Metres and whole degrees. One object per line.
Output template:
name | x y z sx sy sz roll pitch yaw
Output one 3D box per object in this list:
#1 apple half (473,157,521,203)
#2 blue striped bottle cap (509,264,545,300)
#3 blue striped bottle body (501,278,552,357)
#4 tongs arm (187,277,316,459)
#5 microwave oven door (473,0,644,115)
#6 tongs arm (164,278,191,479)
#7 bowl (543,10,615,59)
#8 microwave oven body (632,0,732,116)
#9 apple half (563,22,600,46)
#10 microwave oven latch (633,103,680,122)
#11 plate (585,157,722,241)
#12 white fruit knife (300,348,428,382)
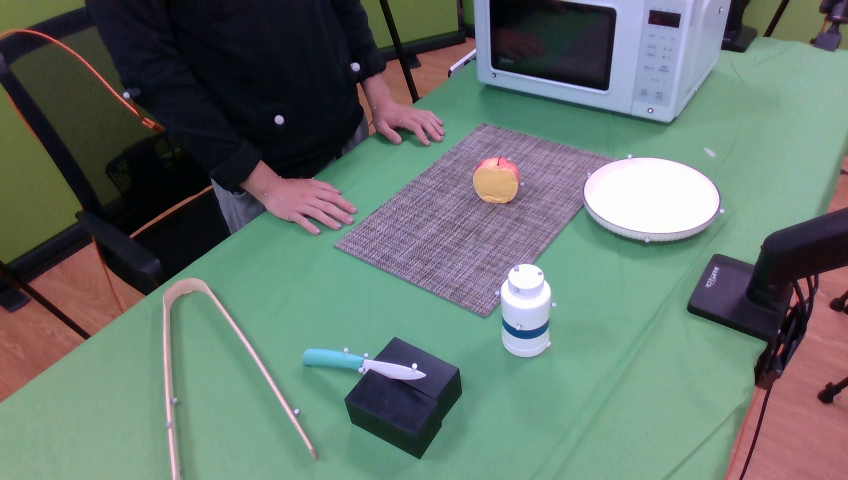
apple half | 0.128 -0.107 1.030 0.080 0.075 0.053 4 38 19
blue striped bottle cap | 0.125 0.051 0.735 0.044 0.021 0.044 -5 39 5
blue striped bottle body | 0.130 0.088 0.769 0.063 0.121 0.063 -4 41 4
tongs arm | -0.241 0.154 0.815 0.028 0.028 0.384 -31 46 -21
microwave oven door | 0.257 -0.396 1.199 0.353 0.245 0.039 21 48 29
tongs arm | -0.313 0.182 0.789 0.051 0.026 0.381 -19 41 -14
bowl | 0.336 -0.439 1.306 0.151 0.077 0.151 -8 30 5
microwave oven body | 0.377 -0.462 1.267 0.438 0.261 0.327 21 48 30
apple half | 0.335 -0.448 1.299 0.081 0.033 0.081 -16 34 12
microwave oven latch | 0.444 -0.249 1.157 0.078 0.029 0.030 21 48 30
plate | 0.367 -0.063 0.979 0.207 0.039 0.206 -4 41 4
white fruit knife | -0.079 0.154 0.748 0.206 0.027 0.016 1 20 34
